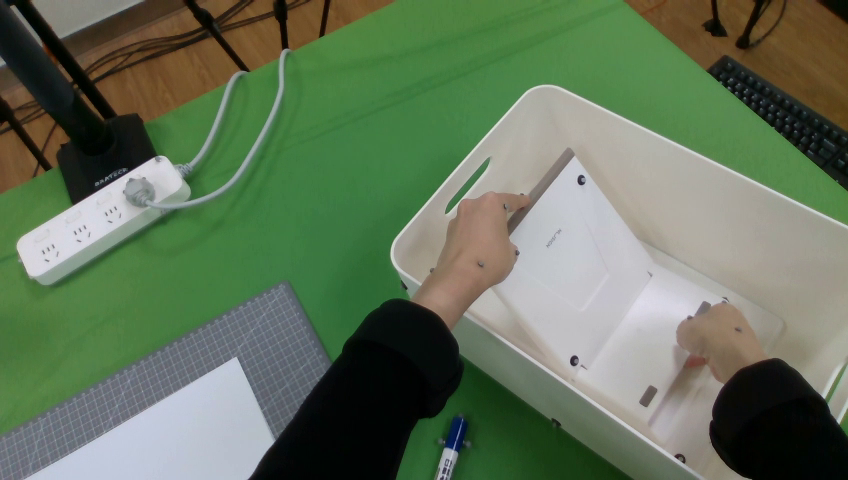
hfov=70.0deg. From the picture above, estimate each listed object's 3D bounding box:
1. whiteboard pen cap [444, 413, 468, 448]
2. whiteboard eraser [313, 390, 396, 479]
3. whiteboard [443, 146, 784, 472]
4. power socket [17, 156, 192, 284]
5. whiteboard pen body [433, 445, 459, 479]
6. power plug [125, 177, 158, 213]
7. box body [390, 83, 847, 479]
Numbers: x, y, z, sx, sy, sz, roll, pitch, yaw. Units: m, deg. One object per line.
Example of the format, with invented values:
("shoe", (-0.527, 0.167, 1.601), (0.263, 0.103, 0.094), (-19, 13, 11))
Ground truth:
("whiteboard pen cap", (0.031, 0.190, 0.601), (0.018, 0.018, 0.033), (14, 65, 15))
("whiteboard eraser", (-0.069, 0.206, 0.586), (0.055, 0.042, 0.112), (10, 63, 13))
("whiteboard", (0.181, 0.048, 0.588), (0.303, 0.145, 0.217), (33, 68, 22))
("power socket", (-0.398, -0.028, 0.761), (0.227, 0.033, 0.071), (-34, 64, -13))
("whiteboard pen body", (0.013, 0.240, 0.577), (0.017, 0.017, 0.140), (15, 64, 15))
("power plug", (-0.342, -0.046, 0.739), (0.035, 0.053, 0.072), (-25, 68, -7))
("box body", (0.186, 0.051, 0.576), (0.361, 0.162, 0.253), (33, 69, 22))
